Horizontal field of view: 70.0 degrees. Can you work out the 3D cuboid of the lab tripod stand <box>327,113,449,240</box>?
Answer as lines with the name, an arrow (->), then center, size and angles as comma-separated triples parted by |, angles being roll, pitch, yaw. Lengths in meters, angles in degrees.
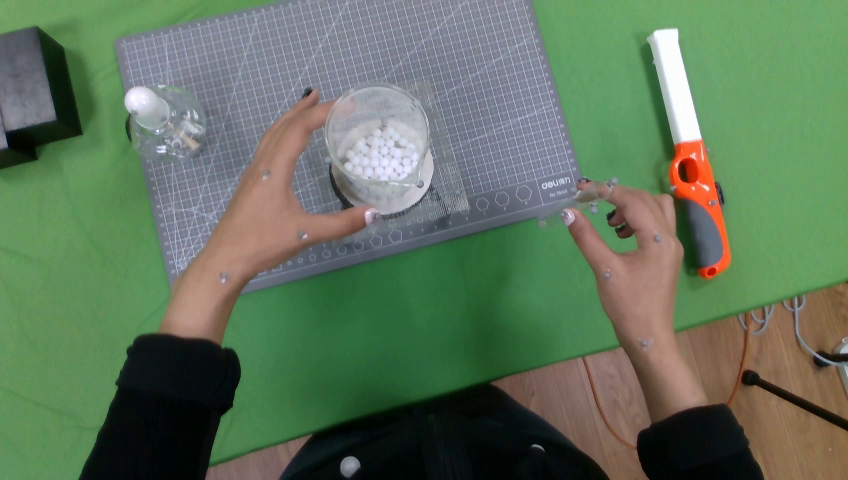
lab tripod stand -> -0.043, -0.062, 0.583 | 0.148, 0.131, 0.148 | 0, 84, -1

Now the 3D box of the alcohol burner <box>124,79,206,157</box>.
alcohol burner -> -0.256, -0.123, 0.585 | 0.078, 0.119, 0.077 | 0, 82, -2

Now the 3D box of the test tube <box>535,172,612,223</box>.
test tube -> 0.123, -0.033, 0.519 | 0.017, 0.150, 0.017 | 1, 82, -7

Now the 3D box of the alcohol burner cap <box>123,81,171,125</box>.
alcohol burner cap -> -0.253, -0.126, 0.550 | 0.034, 0.048, 0.034 | 1, 86, -7

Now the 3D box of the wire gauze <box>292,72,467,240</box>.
wire gauze -> -0.038, -0.073, 0.518 | 0.125, 0.011, 0.121 | -17, 84, -2

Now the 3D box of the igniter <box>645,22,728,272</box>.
igniter -> 0.287, -0.103, 0.662 | 0.057, 0.025, 0.276 | -10, 86, -14

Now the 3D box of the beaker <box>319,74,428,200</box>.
beaker -> -0.033, -0.071, 0.469 | 0.074, 0.100, 0.084 | -38, 86, -5
